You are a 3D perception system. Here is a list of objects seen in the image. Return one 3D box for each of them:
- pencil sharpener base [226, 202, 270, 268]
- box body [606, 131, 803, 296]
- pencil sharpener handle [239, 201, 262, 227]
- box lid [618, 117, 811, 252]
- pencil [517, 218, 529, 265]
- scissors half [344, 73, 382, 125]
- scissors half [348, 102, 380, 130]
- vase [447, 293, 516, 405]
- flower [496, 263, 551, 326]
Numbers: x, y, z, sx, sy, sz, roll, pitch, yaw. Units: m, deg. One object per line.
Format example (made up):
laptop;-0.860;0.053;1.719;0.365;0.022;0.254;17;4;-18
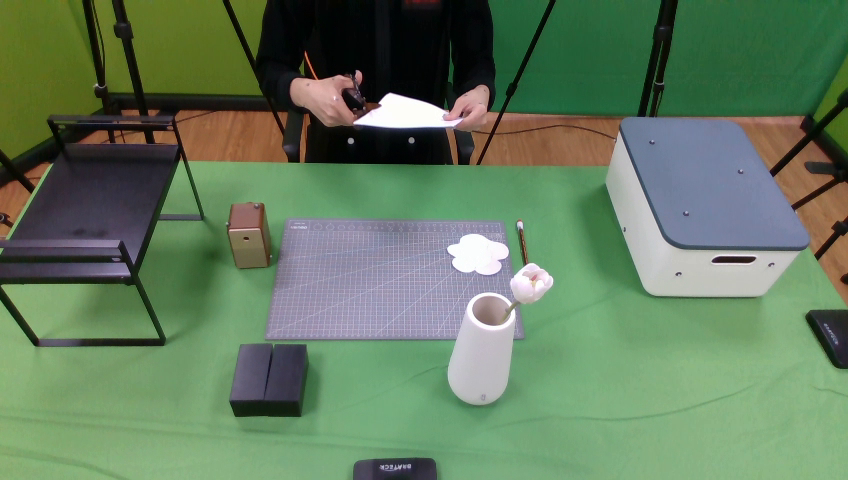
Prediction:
pencil sharpener base;-0.323;-0.010;1.123;0.061;0.107;0.076;-3;46;-7
box body;0.530;-0.067;1.204;0.254;0.161;0.361;1;46;-4
pencil sharpener handle;-0.325;-0.055;1.150;0.036;0.068;0.030;-13;46;3
box lid;0.534;-0.117;1.149;0.263;0.015;0.369;0;47;-3
pencil;0.201;0.028;1.197;0.012;0.012;0.193;1;48;-3
scissors half;-0.107;-0.244;1.050;0.013;0.040;0.174;-18;48;-19
scissors half;-0.105;-0.222;1.060;0.013;0.040;0.175;-14;5;-21
vase;0.091;0.169;0.921;0.098;0.201;0.097;3;47;-3
flower;0.102;0.120;0.853;0.044;0.363;0.038;-2;64;-10
